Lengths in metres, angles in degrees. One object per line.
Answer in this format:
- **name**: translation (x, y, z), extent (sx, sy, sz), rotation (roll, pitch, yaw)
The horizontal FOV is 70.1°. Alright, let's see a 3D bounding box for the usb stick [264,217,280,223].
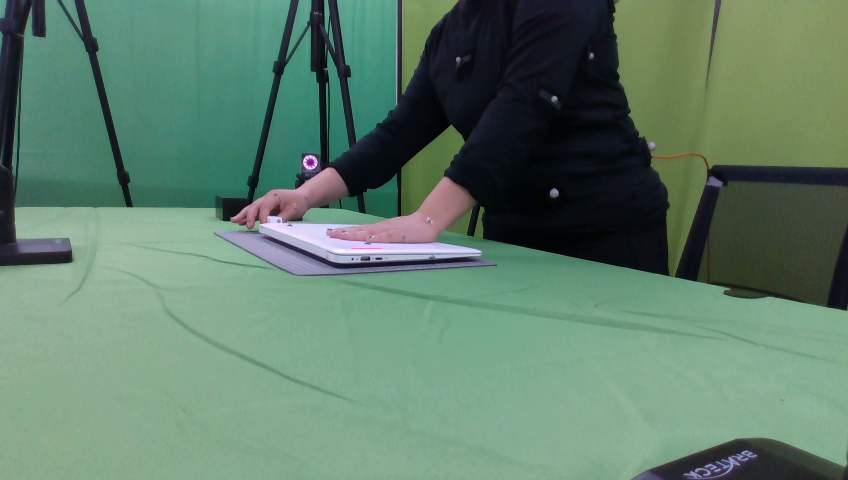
- **usb stick**: translation (-0.271, -0.028, 1.087), extent (0.021, 0.027, 0.059), rotation (-2, 8, -25)

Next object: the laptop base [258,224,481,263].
- **laptop base**: translation (-0.103, 0.007, 0.962), extent (0.237, 0.023, 0.352), rotation (4, 5, -32)

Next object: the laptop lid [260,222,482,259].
- **laptop lid**: translation (-0.100, -0.002, 0.962), extent (0.243, 0.013, 0.355), rotation (2, 7, -30)
